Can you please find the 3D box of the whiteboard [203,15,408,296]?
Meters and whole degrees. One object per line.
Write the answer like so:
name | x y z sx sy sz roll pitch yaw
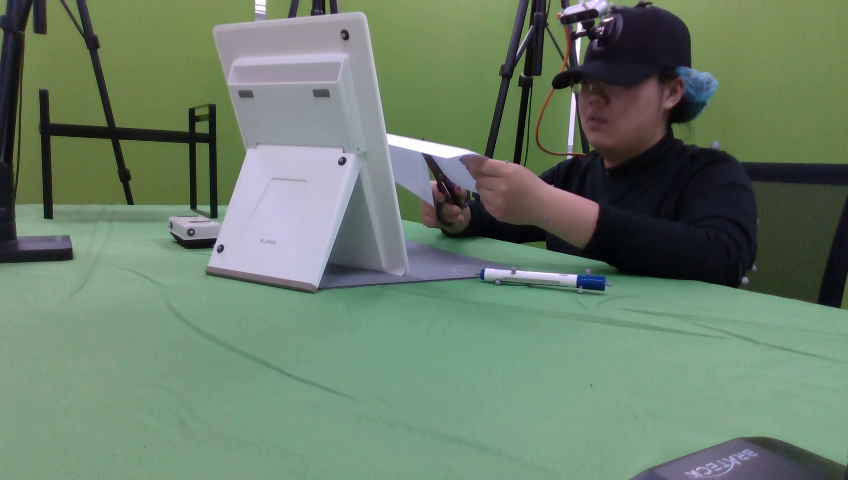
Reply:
whiteboard | -0.166 -0.072 0.668 0.216 0.305 0.144 8 30 30

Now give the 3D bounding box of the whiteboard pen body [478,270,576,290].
whiteboard pen body | 0.131 0.047 0.706 0.140 0.017 0.017 3 7 18

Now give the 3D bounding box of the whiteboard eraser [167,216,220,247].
whiteboard eraser | -0.350 -0.013 0.920 0.056 0.042 0.112 0 7 -35

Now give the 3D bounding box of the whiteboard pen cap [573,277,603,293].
whiteboard pen cap | 0.186 0.051 0.687 0.033 0.018 0.018 5 8 17

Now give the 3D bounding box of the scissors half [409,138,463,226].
scissors half | 0.018 -0.091 0.976 0.013 0.175 0.040 -4 37 41

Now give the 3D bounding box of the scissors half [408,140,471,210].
scissors half | 0.027 -0.107 0.986 0.012 0.040 0.176 2 -29 44
